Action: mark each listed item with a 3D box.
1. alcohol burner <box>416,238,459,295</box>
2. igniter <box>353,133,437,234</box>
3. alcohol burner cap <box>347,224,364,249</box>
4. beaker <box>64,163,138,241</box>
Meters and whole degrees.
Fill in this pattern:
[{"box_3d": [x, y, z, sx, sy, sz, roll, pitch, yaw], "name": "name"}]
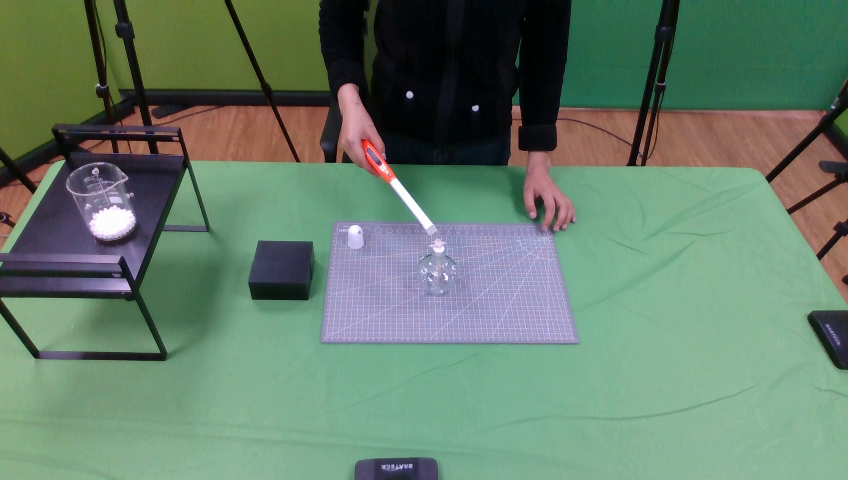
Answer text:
[{"box_3d": [0.025, 0.042, 1.088, 0.078, 0.120, 0.077, 1, 46, 0], "name": "alcohol burner"}, {"box_3d": [-0.060, -0.112, 1.121, 0.025, 0.057, 0.275, -36, 60, -3], "name": "igniter"}, {"box_3d": [-0.134, -0.011, 1.177, 0.034, 0.048, 0.033, 2, 47, -2], "name": "alcohol burner cap"}, {"box_3d": [-0.477, -0.055, 0.910, 0.084, 0.101, 0.073, -9, 48, -13], "name": "beaker"}]
